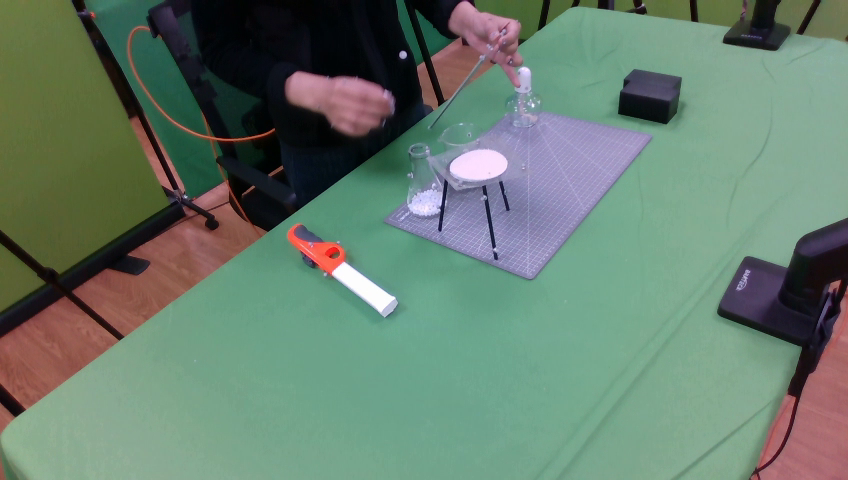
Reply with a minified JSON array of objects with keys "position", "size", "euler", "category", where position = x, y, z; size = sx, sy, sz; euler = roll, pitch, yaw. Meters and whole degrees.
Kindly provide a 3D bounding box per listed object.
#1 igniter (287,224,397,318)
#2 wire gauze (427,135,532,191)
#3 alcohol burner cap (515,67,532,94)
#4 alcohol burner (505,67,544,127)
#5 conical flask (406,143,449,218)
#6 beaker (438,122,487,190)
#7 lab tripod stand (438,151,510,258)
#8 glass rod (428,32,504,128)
[{"position":[-0.139,0.042,0.958],"size":[0.057,0.025,0.274],"euler":[-42,49,-19],"category":"igniter"},{"position":[0.081,-0.115,0.909],"size":[0.125,0.011,0.120],"euler":[-18,39,-11],"category":"wire gauze"},{"position":[0.197,-0.315,1.187],"size":[0.034,0.048,0.033],"euler":[-3,46,3],"category":"alcohol burner cap"},{"position":[0.201,-0.288,1.211],"size":[0.078,0.119,0.077],"euler":[-6,38,5],"category":"alcohol burner"},{"position":[-0.001,-0.104,1.024],"size":[0.075,0.122,0.075],"euler":[-6,40,5],"category":"conical flask"},{"position":[0.072,-0.147,1.080],"size":[0.084,0.101,0.073],"euler":[-5,40,7],"category":"beaker"},{"position":[0.087,-0.064,0.952],"size":[0.148,0.132,0.147],"euler":[-6,38,5],"category":"lab tripod stand"},{"position":[0.068,-0.265,1.013],"size":[0.199,0.008,0.008],"euler":[-49,35,22],"category":"glass rod"}]
